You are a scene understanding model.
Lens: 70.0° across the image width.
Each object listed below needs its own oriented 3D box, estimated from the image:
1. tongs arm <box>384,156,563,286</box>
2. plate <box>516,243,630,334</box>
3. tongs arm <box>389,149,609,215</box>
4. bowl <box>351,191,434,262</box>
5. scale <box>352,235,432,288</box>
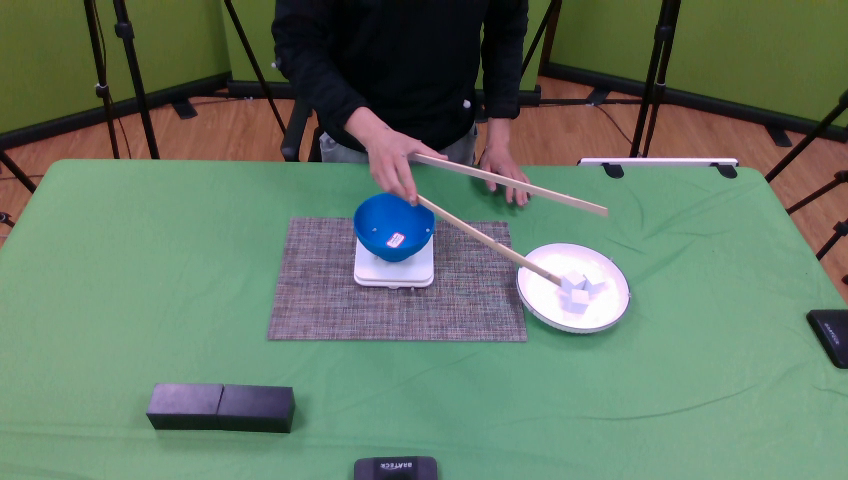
[{"bbox_3d":[0.070,-0.040,0.973,0.383,0.027,0.050,30,74,29],"label":"tongs arm"},{"bbox_3d":[0.272,0.092,1.120,0.208,0.039,0.206,2,46,-2],"label":"plate"},{"bbox_3d":[0.113,-0.098,0.996,0.386,0.028,0.028,18,72,25],"label":"tongs arm"},{"bbox_3d":[-0.057,-0.013,1.119,0.151,0.077,0.150,1,46,-1],"label":"bowl"},{"bbox_3d":[-0.060,0.010,1.171,0.149,0.032,0.199,2,46,-3],"label":"scale"}]
